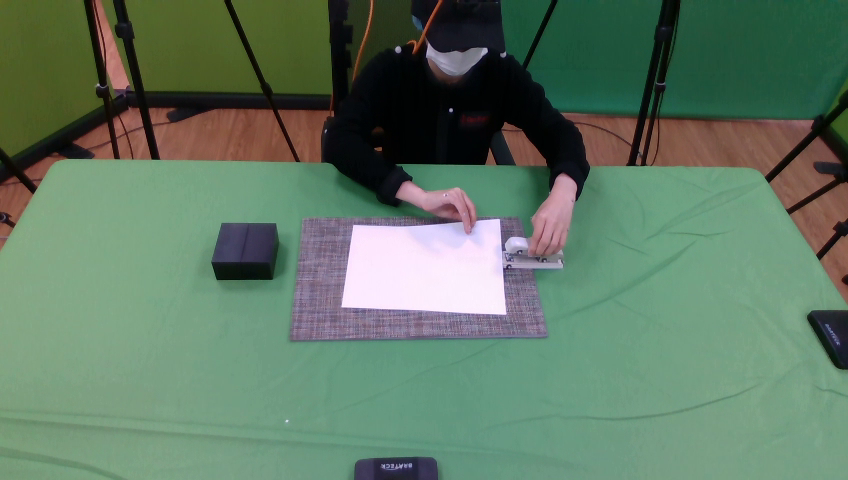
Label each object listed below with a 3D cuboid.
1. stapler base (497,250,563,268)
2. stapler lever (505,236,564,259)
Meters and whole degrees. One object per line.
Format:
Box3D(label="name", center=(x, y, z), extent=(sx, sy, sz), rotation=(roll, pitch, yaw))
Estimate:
Box3D(label="stapler base", center=(0.207, 0.032, 1.175), extent=(0.131, 0.024, 0.041), rotation=(2, 49, -10))
Box3D(label="stapler lever", center=(0.212, 0.015, 1.157), extent=(0.118, 0.040, 0.026), rotation=(2, 49, -10))
